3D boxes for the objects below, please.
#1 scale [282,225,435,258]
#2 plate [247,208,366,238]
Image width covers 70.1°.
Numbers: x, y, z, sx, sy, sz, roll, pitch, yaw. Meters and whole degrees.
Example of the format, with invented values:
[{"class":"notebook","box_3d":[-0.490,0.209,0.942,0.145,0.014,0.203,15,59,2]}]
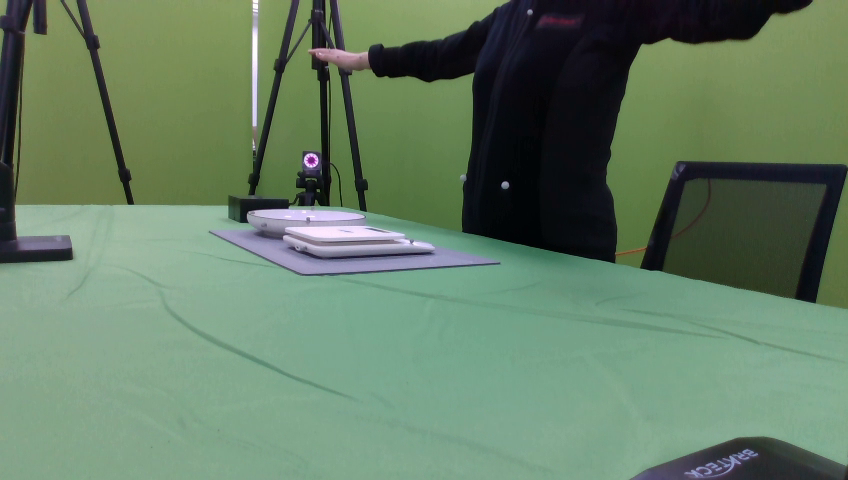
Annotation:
[{"class":"scale","box_3d":[-0.098,0.000,0.914,0.202,0.031,0.148,-2,9,-33]},{"class":"plate","box_3d":[-0.208,-0.030,1.082,0.209,0.038,0.209,2,7,0]}]
